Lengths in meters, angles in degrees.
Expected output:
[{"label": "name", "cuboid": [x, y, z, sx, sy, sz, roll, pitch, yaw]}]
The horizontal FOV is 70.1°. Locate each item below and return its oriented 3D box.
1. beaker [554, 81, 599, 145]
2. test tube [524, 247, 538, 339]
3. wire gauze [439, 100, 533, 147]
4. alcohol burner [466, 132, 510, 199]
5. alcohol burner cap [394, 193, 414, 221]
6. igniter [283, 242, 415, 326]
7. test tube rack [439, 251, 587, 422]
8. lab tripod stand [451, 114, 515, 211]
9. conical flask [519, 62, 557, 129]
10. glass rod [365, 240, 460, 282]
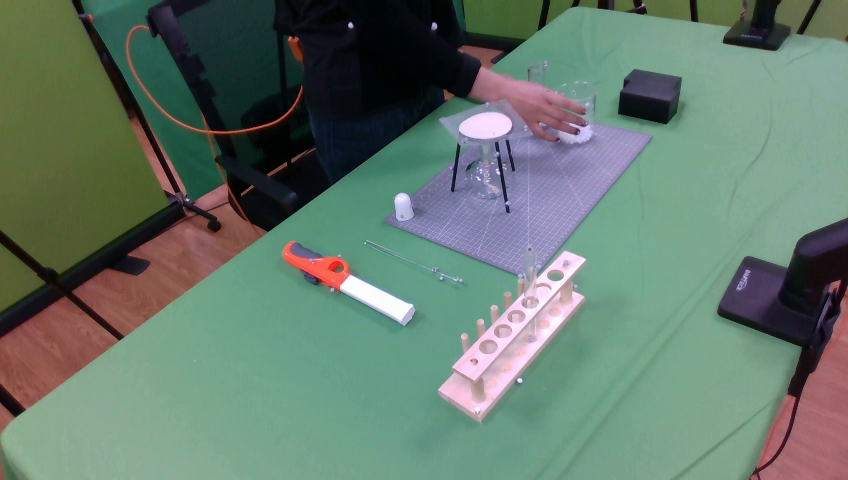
[{"label": "beaker", "cuboid": [0.286, -0.237, 1.144, 0.084, 0.101, 0.073, -16, 40, -7]}, {"label": "test tube", "cuboid": [0.133, 0.070, 0.749, 0.017, 0.151, 0.017, -5, 38, 4]}, {"label": "wire gauze", "cuboid": [0.100, -0.190, 0.994, 0.125, 0.011, 0.120, -15, 39, -7]}, {"label": "alcohol burner", "cuboid": [0.110, -0.132, 1.044, 0.078, 0.119, 0.077, -6, 38, 5]}, {"label": "alcohol burner cap", "cuboid": [-0.036, -0.059, 1.040, 0.034, 0.048, 0.033, -5, 41, 5]}, {"label": "igniter", "cuboid": [-0.126, 0.062, 0.931, 0.274, 0.025, 0.057, 24, 61, 33]}, {"label": "test tube rack", "cuboid": [0.118, 0.111, 0.780, 0.066, 0.085, 0.243, 26, 51, 35]}, {"label": "lab tripod stand", "cuboid": [0.113, -0.140, 1.037, 0.148, 0.132, 0.147, -6, 38, 5]}, {"label": "conical flask", "cuboid": [0.225, -0.288, 1.198, 0.075, 0.122, 0.075, -6, 40, 5]}, {"label": "glass rod", "cuboid": [-0.022, 0.032, 0.961, 0.198, 0.008, 0.008, 21, 49, 34]}]
